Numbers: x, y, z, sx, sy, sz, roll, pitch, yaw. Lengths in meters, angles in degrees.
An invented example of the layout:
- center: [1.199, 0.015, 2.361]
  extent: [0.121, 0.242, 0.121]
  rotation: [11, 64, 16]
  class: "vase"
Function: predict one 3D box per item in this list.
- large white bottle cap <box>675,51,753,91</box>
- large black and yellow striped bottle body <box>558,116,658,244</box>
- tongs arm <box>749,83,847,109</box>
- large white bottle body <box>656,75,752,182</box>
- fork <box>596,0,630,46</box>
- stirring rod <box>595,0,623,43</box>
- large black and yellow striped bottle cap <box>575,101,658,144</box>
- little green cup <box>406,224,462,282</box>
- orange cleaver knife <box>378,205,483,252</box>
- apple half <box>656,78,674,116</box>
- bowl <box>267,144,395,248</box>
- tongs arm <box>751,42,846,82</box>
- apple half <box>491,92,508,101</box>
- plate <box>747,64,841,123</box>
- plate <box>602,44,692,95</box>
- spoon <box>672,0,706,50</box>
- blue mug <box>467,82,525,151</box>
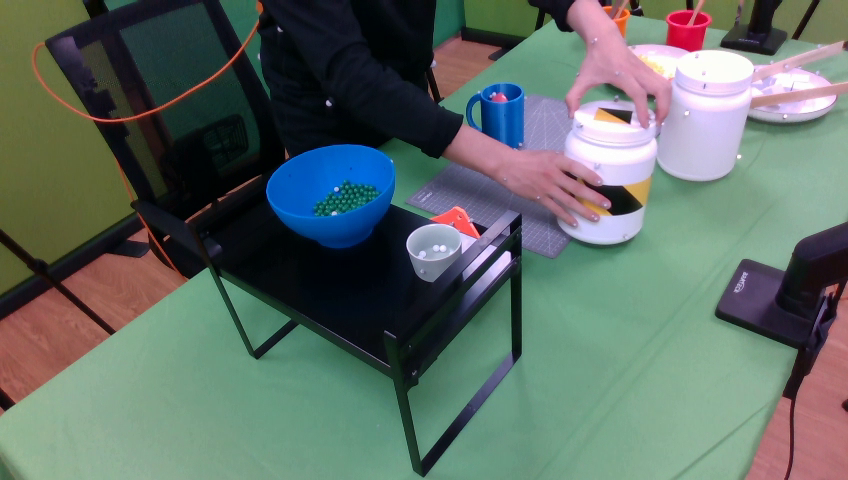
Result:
- center: [0.463, -0.271, 0.967]
  extent: [0.115, 0.018, 0.114]
  rotation: [-4, 40, 4]
  class: "large white bottle cap"
- center: [0.277, -0.101, 0.915]
  extent: [0.131, 0.184, 0.130]
  rotation: [-1, 34, 1]
  class: "large black and yellow striped bottle body"
- center: [0.734, -0.280, 1.133]
  extent: [0.388, 0.028, 0.028]
  rotation: [-9, 47, -5]
  class: "tongs arm"
- center: [0.472, -0.207, 1.022]
  extent: [0.130, 0.185, 0.130]
  rotation: [-4, 41, 4]
  class: "large white bottle body"
- center: [0.481, -0.556, 1.452]
  extent: [0.028, 0.019, 0.207]
  rotation: [40, 103, 40]
  class: "fork"
- center: [0.460, -0.556, 1.459]
  extent: [0.014, 0.006, 0.176]
  rotation: [30, 93, 24]
  class: "stirring rod"
- center: [0.275, -0.170, 0.867]
  extent: [0.115, 0.019, 0.114]
  rotation: [-2, 34, 2]
  class: "large black and yellow striped bottle cap"
- center: [0.012, 0.015, 0.668]
  extent: [0.061, 0.039, 0.061]
  rotation: [-4, 40, 4]
  class: "little green cup"
- center: [0.005, -0.010, 0.944]
  extent: [0.210, 0.077, 0.012]
  rotation: [-4, 23, 47]
  class: "orange cleaver knife"
- center: [0.488, -0.281, 1.192]
  extent: [0.053, 0.075, 0.081]
  rotation: [24, 54, 37]
  class: "apple half"
- center: [-0.104, -0.043, 0.726]
  extent: [0.151, 0.077, 0.150]
  rotation: [-4, 40, 4]
  class: "bowl"
- center: [0.708, -0.331, 1.194]
  extent: [0.386, 0.026, 0.050]
  rotation: [-18, 45, -16]
  class: "tongs arm"
- center: [0.141, -0.239, 1.158]
  extent: [0.033, 0.081, 0.080]
  rotation: [-13, 40, -17]
  class: "apple half"
- center: [0.694, -0.283, 1.189]
  extent: [0.207, 0.039, 0.206]
  rotation: [-4, 40, 4]
  class: "plate"
- center: [0.495, -0.367, 1.317]
  extent: [0.209, 0.038, 0.208]
  rotation: [-4, 40, 4]
  class: "plate"
- center: [0.629, -0.520, 1.394]
  extent: [0.041, 0.022, 0.193]
  rotation: [29, 96, 34]
  class: "spoon"
- center: [0.138, -0.241, 1.169]
  extent: [0.116, 0.106, 0.082]
  rotation: [10, 44, 21]
  class: "blue mug"
